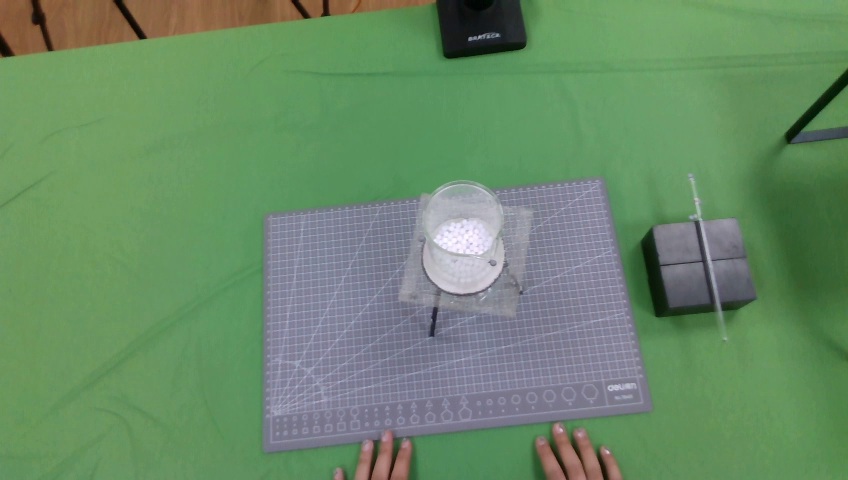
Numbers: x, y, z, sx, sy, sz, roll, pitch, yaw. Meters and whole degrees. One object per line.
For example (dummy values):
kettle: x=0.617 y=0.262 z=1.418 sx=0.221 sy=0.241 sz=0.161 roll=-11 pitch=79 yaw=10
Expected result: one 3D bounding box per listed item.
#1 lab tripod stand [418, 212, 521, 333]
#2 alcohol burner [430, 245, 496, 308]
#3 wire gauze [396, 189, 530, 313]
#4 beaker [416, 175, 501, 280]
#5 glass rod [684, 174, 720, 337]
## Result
lab tripod stand: x=0.040 y=0.031 z=0.692 sx=0.148 sy=0.132 sz=0.147 roll=-2 pitch=70 yaw=5
alcohol burner: x=0.044 y=0.038 z=0.700 sx=0.078 sy=0.120 sz=0.077 roll=-1 pitch=71 yaw=5
wire gauze: x=0.042 y=0.010 z=0.629 sx=0.121 sy=0.011 sz=0.124 roll=10 pitch=69 yaw=6
beaker: x=0.036 y=-0.005 z=0.584 sx=0.074 sy=0.101 sz=0.083 roll=-33 pitch=72 yaw=-8
glass rod: x=0.322 y=0.014 z=0.703 sx=0.008 sy=0.008 sz=0.198 roll=-3 pitch=71 yaw=2
